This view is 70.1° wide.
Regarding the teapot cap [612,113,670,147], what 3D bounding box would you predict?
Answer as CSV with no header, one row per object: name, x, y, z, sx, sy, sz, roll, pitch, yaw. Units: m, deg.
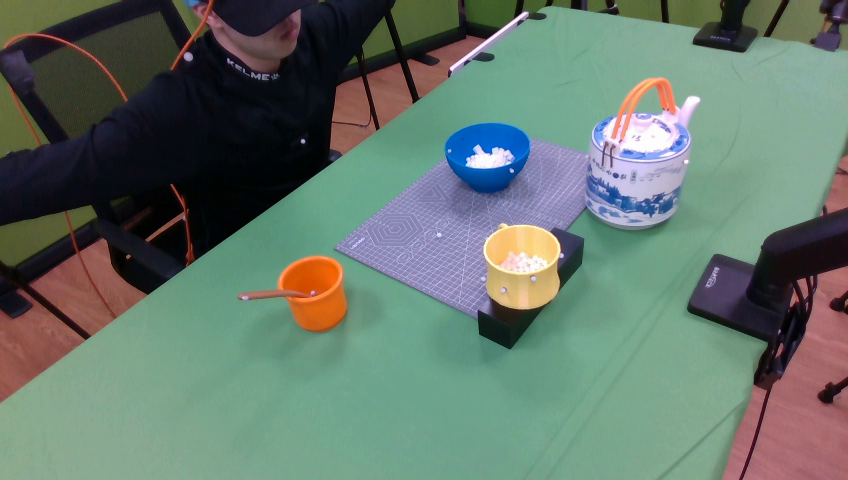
teapot cap,0.323,-0.166,0.900,0.085,0.044,0.085,-3,38,3

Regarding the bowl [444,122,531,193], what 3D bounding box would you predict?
bowl,0.112,-0.136,1.064,0.151,0.077,0.150,-4,41,4

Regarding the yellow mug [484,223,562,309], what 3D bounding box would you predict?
yellow mug,0.126,0.025,0.811,0.100,0.064,0.130,-16,39,-9

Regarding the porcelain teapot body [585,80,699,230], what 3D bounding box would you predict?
porcelain teapot body,0.350,-0.149,0.936,0.206,0.226,0.144,-30,45,-25

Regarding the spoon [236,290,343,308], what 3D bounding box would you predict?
spoon,-0.175,0.076,0.808,0.041,0.195,0.021,23,94,30
